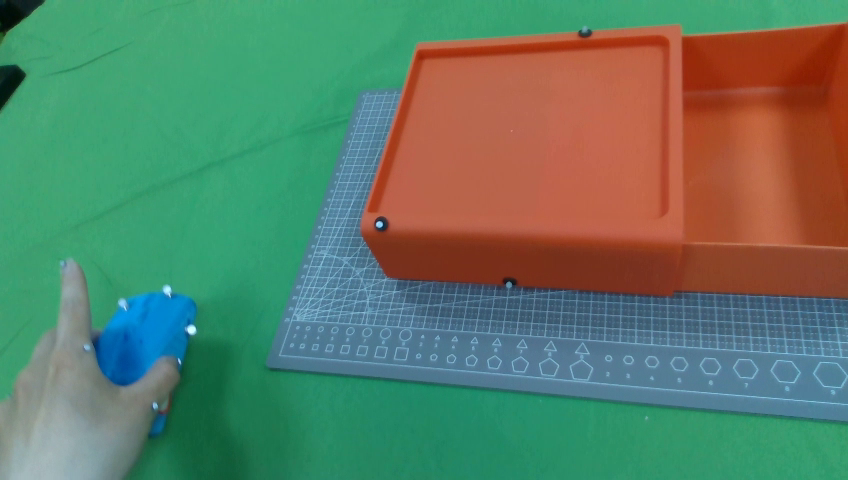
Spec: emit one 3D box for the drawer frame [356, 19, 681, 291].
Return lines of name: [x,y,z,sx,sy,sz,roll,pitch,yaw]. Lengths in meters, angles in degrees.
drawer frame: [0.080,-0.067,0.463,0.213,0.083,0.200,1,58,18]

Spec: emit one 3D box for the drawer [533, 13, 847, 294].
drawer: [0.190,-0.064,0.431,0.211,0.074,0.193,1,59,17]

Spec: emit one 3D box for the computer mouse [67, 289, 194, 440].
computer mouse: [-0.215,0.087,0.445,0.062,0.041,0.116,-3,56,15]
